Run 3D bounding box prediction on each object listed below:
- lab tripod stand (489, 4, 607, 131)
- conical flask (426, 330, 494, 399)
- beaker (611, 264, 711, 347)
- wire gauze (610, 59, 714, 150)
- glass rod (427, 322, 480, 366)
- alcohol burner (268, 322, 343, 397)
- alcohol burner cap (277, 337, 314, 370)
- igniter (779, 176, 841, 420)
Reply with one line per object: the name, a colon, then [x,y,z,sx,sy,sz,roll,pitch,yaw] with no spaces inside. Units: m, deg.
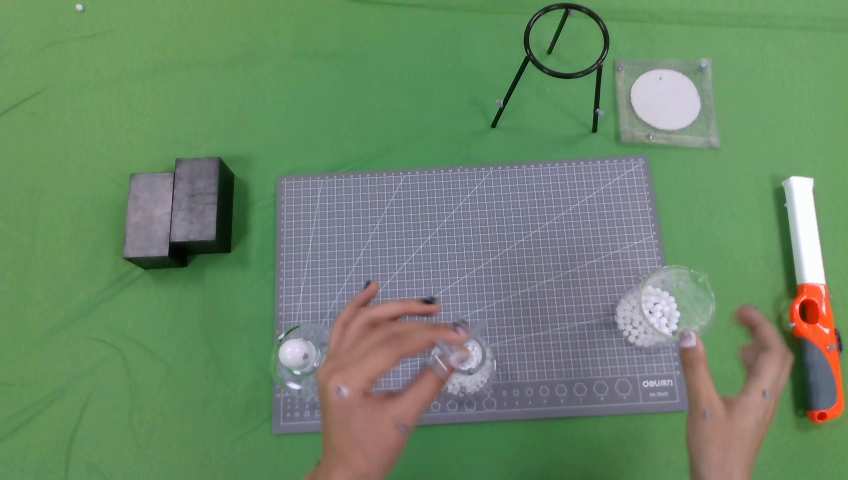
lab tripod stand: [0.146,-0.190,0.698,0.148,0.132,0.147,0,76,1]
conical flask: [0.038,0.121,0.613,0.075,0.122,0.075,0,73,1]
beaker: [0.246,0.071,0.637,0.084,0.101,0.073,-39,77,-10]
wire gauze: [0.298,-0.173,0.756,0.125,0.011,0.121,3,75,0]
glass rod: [0.024,0.068,0.418,0.008,0.200,0.008,0,87,12]
alcohol burner: [-0.125,0.120,0.620,0.078,0.120,0.077,-1,73,3]
alcohol burner cap: [-0.126,0.109,0.586,0.034,0.048,0.033,1,77,-3]
igniter: [0.430,0.059,0.678,0.057,0.025,0.275,5,74,-9]
